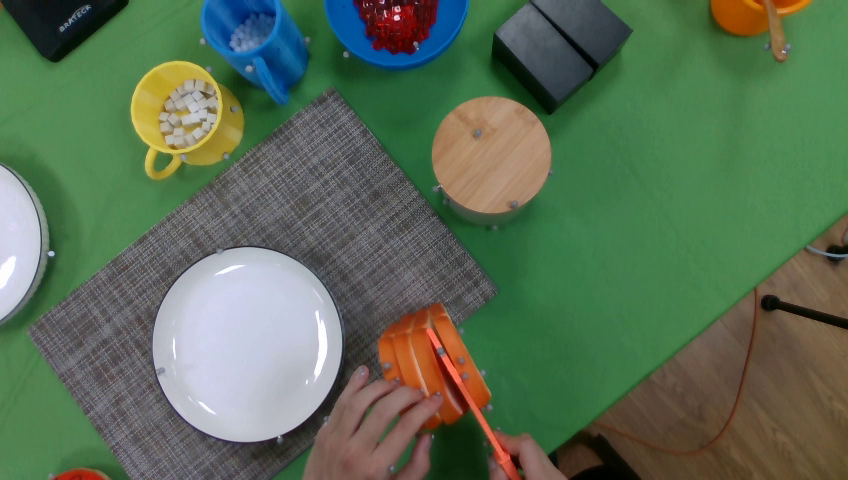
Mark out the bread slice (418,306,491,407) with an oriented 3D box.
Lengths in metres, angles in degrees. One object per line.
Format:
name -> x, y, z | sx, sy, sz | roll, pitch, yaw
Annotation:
bread slice -> 0.032, 0.115, 0.601 | 0.019, 0.131, 0.105 | -30, 91, -7

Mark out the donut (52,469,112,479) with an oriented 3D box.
donut -> -0.374, 0.299, 0.658 | 0.099, 0.048, 0.099 | 0, 85, 2

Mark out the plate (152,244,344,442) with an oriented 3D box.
plate -> -0.187, 0.109, 0.658 | 0.209, 0.038, 0.208 | 0, 86, 3

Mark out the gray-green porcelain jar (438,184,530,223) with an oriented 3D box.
gray-green porcelain jar -> 0.065, -0.073, 0.614 | 0.106, 0.127, 0.105 | 0, 86, 3

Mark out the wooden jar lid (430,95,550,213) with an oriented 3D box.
wooden jar lid -> 0.060, -0.078, 0.552 | 0.108, 0.021, 0.108 | 0, 86, 1

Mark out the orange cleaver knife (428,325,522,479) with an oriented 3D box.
orange cleaver knife -> 0.055, 0.170, 0.574 | 0.012, 0.076, 0.213 | -29, 114, -1

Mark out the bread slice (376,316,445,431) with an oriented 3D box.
bread slice -> -0.013, 0.130, 0.606 | 0.018, 0.134, 0.106 | -24, 83, 9

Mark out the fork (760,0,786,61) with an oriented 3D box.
fork -> 0.335, -0.229, 0.596 | 0.028, 0.019, 0.206 | 23, 44, -2

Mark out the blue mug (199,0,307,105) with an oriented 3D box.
blue mug -> -0.173, -0.201, 0.646 | 0.082, 0.106, 0.116 | -19, 85, 2

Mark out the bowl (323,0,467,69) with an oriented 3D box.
bowl -> -0.027, -0.248, 0.654 | 0.151, 0.077, 0.151 | 0, 87, 4

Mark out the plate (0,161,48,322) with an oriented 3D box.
plate -> -0.523, 0.004, 0.687 | 0.207, 0.039, 0.207 | 0, 87, 3

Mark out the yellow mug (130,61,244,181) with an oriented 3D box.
yellow mug -> -0.266, -0.123, 0.666 | 0.100, 0.064, 0.131 | 29, 90, 6
